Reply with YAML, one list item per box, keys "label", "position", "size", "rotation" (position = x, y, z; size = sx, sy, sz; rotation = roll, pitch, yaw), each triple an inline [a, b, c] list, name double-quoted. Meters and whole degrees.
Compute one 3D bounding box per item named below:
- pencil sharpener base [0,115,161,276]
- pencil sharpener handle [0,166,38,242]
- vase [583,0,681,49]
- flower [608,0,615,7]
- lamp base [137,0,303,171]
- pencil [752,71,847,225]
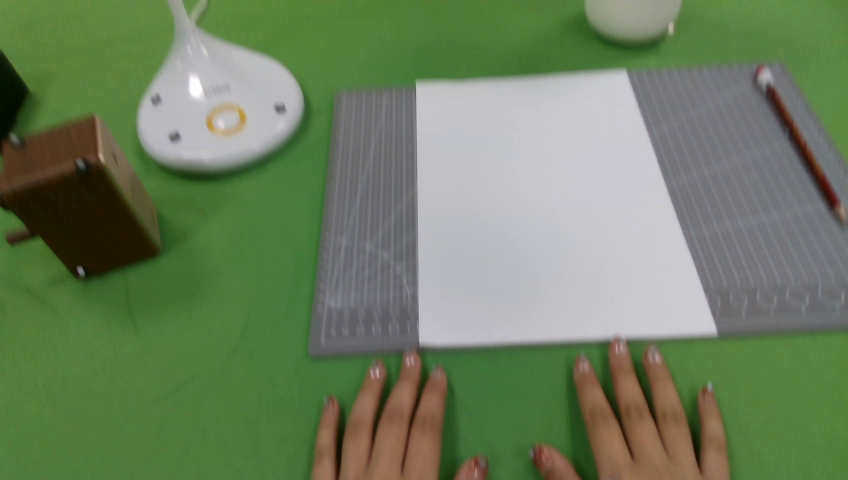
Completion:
- label: "pencil sharpener base"
  position: [-0.265, -0.031, 0.472]
  size: [0.077, 0.108, 0.060]
  rotation: [-20, 53, -11]
- label: "pencil sharpener handle"
  position: [-0.314, -0.023, 0.453]
  size: [0.031, 0.068, 0.035]
  rotation: [-20, 57, -11]
- label: "vase"
  position: [0.213, -0.291, 0.588]
  size: [0.098, 0.202, 0.097]
  rotation: [-3, 50, 4]
- label: "flower"
  position: [0.202, -0.326, 0.511]
  size: [0.044, 0.364, 0.038]
  rotation: [39, 77, 15]
- label: "lamp base"
  position: [-0.211, -0.182, 0.543]
  size: [0.161, 0.182, 0.177]
  rotation: [-28, 52, -18]
- label: "pencil"
  position: [0.329, -0.087, 0.534]
  size: [0.012, 0.012, 0.192]
  rotation: [-4, 52, 1]
